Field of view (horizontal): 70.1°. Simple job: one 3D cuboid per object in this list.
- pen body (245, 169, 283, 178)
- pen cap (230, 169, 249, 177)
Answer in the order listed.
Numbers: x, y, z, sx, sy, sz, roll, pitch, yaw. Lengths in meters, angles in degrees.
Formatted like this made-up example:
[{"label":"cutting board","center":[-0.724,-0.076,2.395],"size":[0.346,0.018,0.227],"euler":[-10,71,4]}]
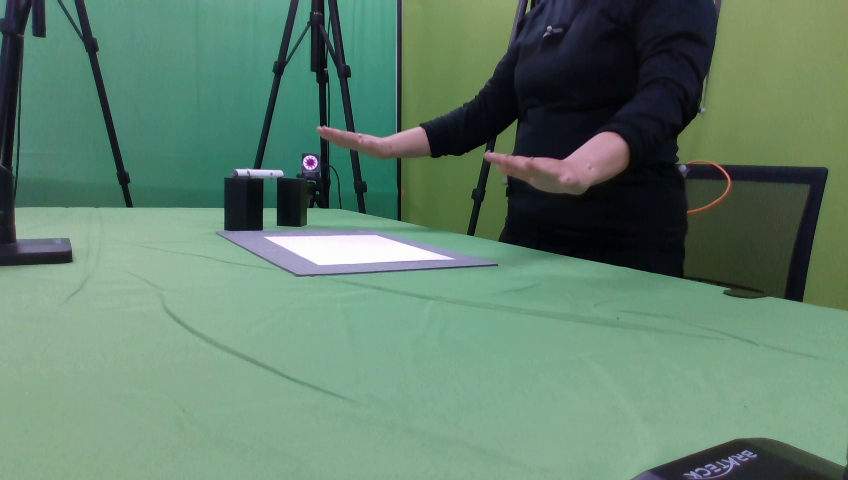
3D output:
[{"label":"pen body","center":[-0.325,-0.130,1.195],"size":[0.017,0.017,0.144],"euler":[6,7,22]},{"label":"pen cap","center":[-0.347,-0.125,1.138],"size":[0.017,0.017,0.038],"euler":[6,8,21]}]
